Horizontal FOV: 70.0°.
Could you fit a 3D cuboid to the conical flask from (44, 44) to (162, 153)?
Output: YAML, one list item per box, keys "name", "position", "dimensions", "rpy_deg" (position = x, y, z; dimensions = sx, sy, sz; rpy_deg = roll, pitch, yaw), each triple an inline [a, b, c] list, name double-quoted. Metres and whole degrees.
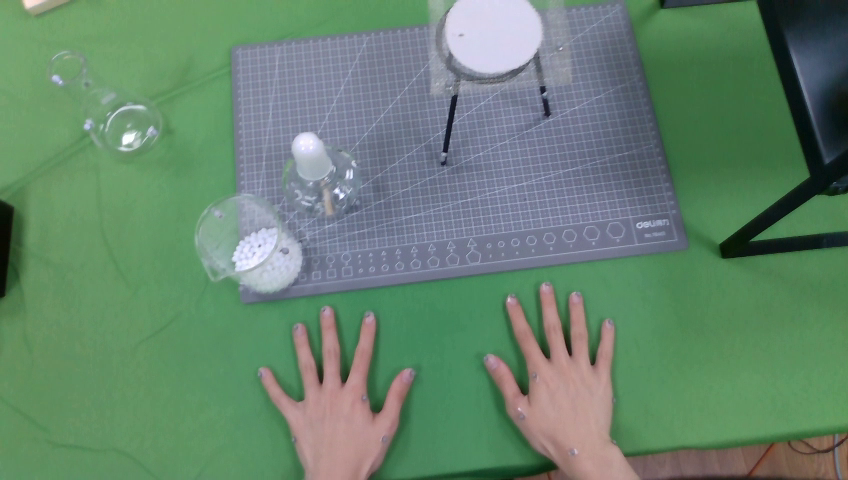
- name: "conical flask"
  position: [-0.324, -0.144, 0.605]
  dimensions: [0.075, 0.122, 0.075]
  rpy_deg: [0, 73, 2]

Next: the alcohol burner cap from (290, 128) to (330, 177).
- name: "alcohol burner cap"
  position: [-0.104, -0.082, 0.545]
  dimensions: [0.034, 0.048, 0.033]
  rpy_deg: [0, 66, -1]

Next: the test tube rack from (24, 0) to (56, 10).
- name: "test tube rack"
  position: [-0.367, -0.362, 0.690]
  dimensions: [0.242, 0.085, 0.066]
  rpy_deg: [-26, 74, -6]

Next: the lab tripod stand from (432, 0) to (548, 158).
- name: "lab tripod stand"
  position: [0.059, -0.163, 0.593]
  dimensions: [0.148, 0.132, 0.147]
  rpy_deg: [0, 71, 0]

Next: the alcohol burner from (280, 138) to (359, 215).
- name: "alcohol burner"
  position: [-0.103, -0.069, 0.579]
  dimensions: [0.078, 0.120, 0.077]
  rpy_deg: [0, 72, 0]

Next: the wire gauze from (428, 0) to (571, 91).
- name: "wire gauze"
  position: [0.064, -0.188, 0.529]
  dimensions: [0.121, 0.011, 0.124]
  rpy_deg: [-1, 74, 0]

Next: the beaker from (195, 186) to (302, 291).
- name: "beaker"
  position: [-0.160, 0.007, 0.565]
  dimensions: [0.074, 0.101, 0.083]
  rpy_deg: [23, 76, 9]
